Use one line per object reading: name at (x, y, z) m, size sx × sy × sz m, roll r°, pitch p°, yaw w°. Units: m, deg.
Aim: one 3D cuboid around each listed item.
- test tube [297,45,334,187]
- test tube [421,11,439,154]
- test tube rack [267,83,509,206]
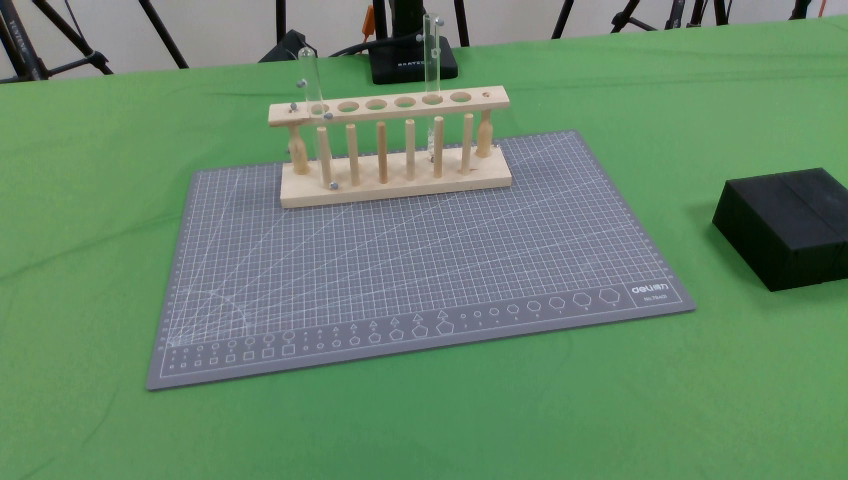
test tube at (-0.103, -0.115, 0.584) m, size 0.017 × 0.152 × 0.017 m, roll -1°, pitch 41°, yaw 1°
test tube at (0.007, -0.156, 0.618) m, size 0.017 × 0.151 × 0.017 m, roll -1°, pitch 38°, yaw 1°
test tube rack at (-0.034, -0.100, 0.633) m, size 0.243 × 0.086 × 0.066 m, roll -6°, pitch 42°, yaw -5°
